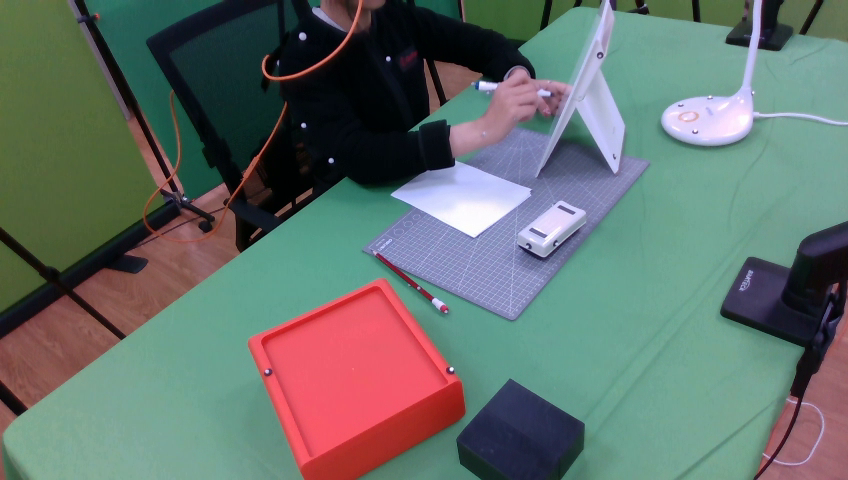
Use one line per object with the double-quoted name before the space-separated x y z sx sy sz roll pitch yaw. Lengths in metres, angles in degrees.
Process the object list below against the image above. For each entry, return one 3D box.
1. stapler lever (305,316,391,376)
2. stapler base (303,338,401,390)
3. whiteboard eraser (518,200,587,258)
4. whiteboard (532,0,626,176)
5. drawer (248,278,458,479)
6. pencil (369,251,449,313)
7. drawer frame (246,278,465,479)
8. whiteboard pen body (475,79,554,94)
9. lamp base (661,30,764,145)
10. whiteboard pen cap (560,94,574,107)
"stapler lever" -0.100 0.136 0.790 0.118 0.040 0.026 -23 44 -12
"stapler base" -0.096 0.159 0.813 0.131 0.024 0.041 -17 43 -17
"whiteboard eraser" 0.201 -0.016 0.943 0.113 0.042 0.055 -37 46 -29
"whiteboard" 0.321 -0.258 1.050 0.144 0.306 0.217 22 45 5
"drawer" -0.092 0.167 0.756 0.195 0.073 0.210 -24 43 -18
"pencil" -0.028 0.060 0.924 0.012 0.012 0.192 -33 46 -25
"drawer frame" -0.088 0.168 0.752 0.202 0.083 0.211 -24 43 -18
"whiteboard pen body" 0.160 -0.269 1.067 0.141 0.017 0.017 6 42 2
"lamp base" 0.535 -0.287 1.096 0.179 0.181 0.159 -10 40 -4
"whiteboard pen cap" 0.301 -0.293 1.272 0.018 0.018 0.033 26 50 34
